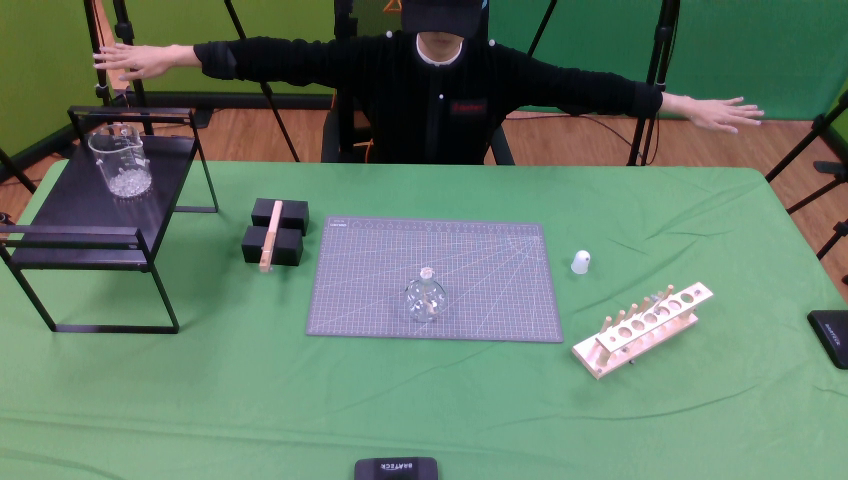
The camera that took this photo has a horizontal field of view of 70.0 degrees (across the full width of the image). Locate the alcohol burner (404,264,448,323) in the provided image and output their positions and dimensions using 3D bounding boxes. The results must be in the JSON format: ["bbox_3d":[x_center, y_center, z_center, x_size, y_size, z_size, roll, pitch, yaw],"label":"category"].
[{"bbox_3d":[0.003,0.087,1.042,0.078,0.120,0.077,1,45,0],"label":"alcohol burner"}]

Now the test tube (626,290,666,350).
[{"bbox_3d":[0.355,0.132,0.975,0.017,0.151,0.017,3,46,-3],"label":"test tube"}]

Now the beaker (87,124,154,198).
[{"bbox_3d":[-0.482,-0.124,0.978,0.084,0.101,0.073,9,46,4],"label":"beaker"}]

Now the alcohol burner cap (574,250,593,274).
[{"bbox_3d":[0.308,0.039,1.163,0.034,0.048,0.033,1,46,-1],"label":"alcohol burner cap"}]

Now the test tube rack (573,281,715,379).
[{"bbox_3d":[0.378,0.140,1.038,0.242,0.085,0.066,-22,51,-23],"label":"test tube rack"}]

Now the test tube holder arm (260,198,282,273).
[{"bbox_3d":[-0.282,-0.012,1.120,0.015,0.013,0.177,-3,48,3],"label":"test tube holder arm"}]

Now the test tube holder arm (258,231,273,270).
[{"bbox_3d":[-0.282,0.018,1.086,0.015,0.010,0.087,-3,47,3],"label":"test tube holder arm"}]
